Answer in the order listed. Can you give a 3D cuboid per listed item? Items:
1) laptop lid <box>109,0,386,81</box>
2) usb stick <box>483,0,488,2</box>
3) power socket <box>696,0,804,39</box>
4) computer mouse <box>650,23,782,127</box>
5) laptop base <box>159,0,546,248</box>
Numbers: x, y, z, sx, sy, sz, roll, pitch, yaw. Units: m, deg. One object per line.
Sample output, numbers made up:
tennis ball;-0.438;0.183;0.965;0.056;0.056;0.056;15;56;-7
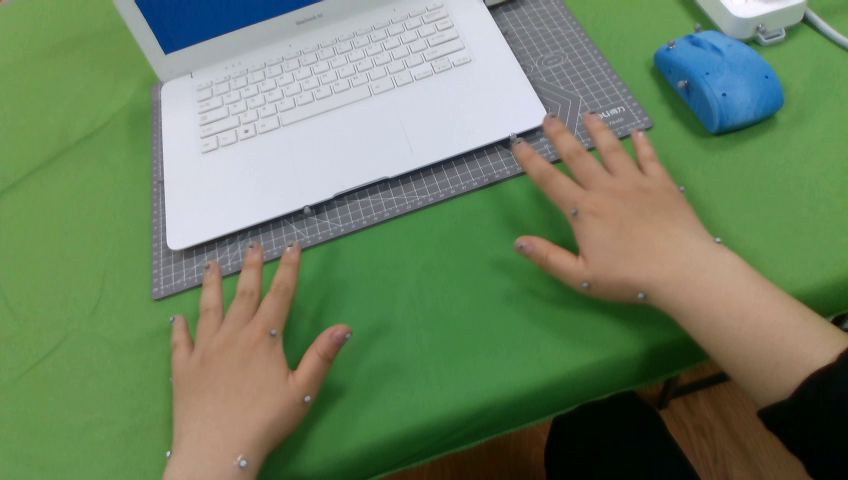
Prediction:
laptop lid;-0.149;-0.309;0.582;0.357;0.244;0.013;-21;42;1
usb stick;0.071;-0.268;0.630;0.059;0.027;0.021;-20;54;4
power socket;0.285;-0.279;0.594;0.072;0.033;0.224;-17;55;2
computer mouse;0.244;-0.147;0.512;0.063;0.041;0.116;-20;49;3
laptop base;-0.087;-0.136;0.594;0.354;0.023;0.233;-20;58;0
